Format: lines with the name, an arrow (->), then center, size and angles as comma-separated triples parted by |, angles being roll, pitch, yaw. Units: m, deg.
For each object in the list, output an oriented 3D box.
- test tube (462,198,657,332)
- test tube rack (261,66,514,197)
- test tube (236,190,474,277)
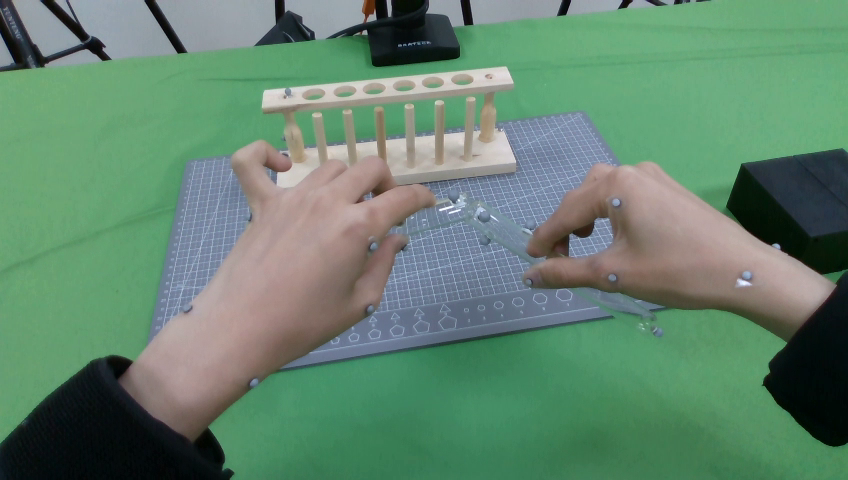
test tube -> 0.085, 0.018, 0.365 | 0.151, 0.017, 0.017 | 31, 41, -19
test tube rack -> -0.033, -0.109, 0.609 | 0.242, 0.086, 0.066 | -7, 44, -4
test tube -> -0.044, -0.002, 0.355 | 0.150, 0.017, 0.017 | -15, 42, 13
